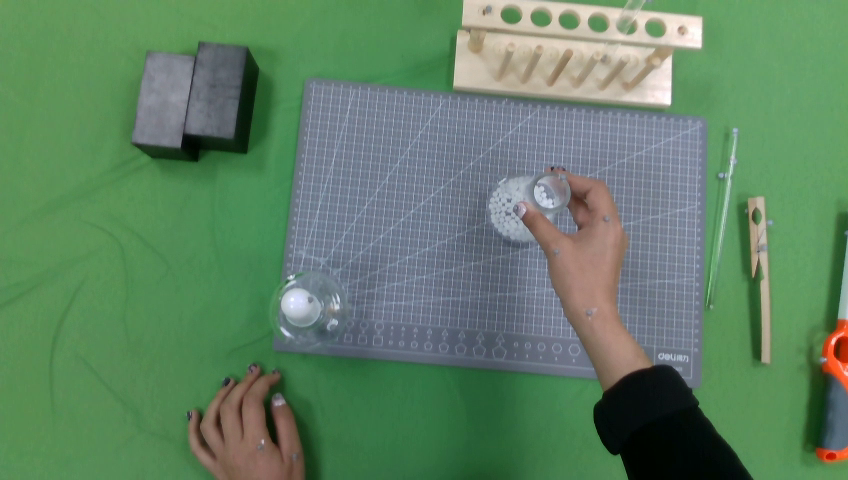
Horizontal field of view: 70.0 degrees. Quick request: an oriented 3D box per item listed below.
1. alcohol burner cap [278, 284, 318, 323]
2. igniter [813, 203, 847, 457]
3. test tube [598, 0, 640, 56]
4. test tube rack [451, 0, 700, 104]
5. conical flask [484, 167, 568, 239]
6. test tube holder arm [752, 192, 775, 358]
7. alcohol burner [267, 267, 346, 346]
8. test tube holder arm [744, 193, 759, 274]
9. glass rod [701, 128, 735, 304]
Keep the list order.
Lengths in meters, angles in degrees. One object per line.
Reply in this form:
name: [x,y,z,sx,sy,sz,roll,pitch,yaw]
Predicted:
alcohol burner cap: [-0.115,0.055,0.543,0.034,0.048,0.033,1,73,-3]
igniter: [0.451,0.093,0.646,0.057,0.025,0.275,15,82,-10]
test tube: [0.197,-0.223,0.598,0.017,0.151,0.017,0,79,2]
test tube rack: [0.154,-0.201,0.643,0.242,0.085,0.066,5,82,-2]
conical flask: [0.105,-0.042,0.593,0.075,0.122,0.075,0,87,-4]
test tube holder arm: [0.364,0.037,0.652,0.013,0.015,0.178,-8,81,33]
alcohol burner: [-0.115,0.062,0.578,0.078,0.119,0.077,0,80,-1]
test tube holder arm: [0.358,-0.007,0.661,0.010,0.015,0.087,-6,82,34]
glass rod: [0.323,-0.028,0.665,0.008,0.008,0.199,12,84,-1]
